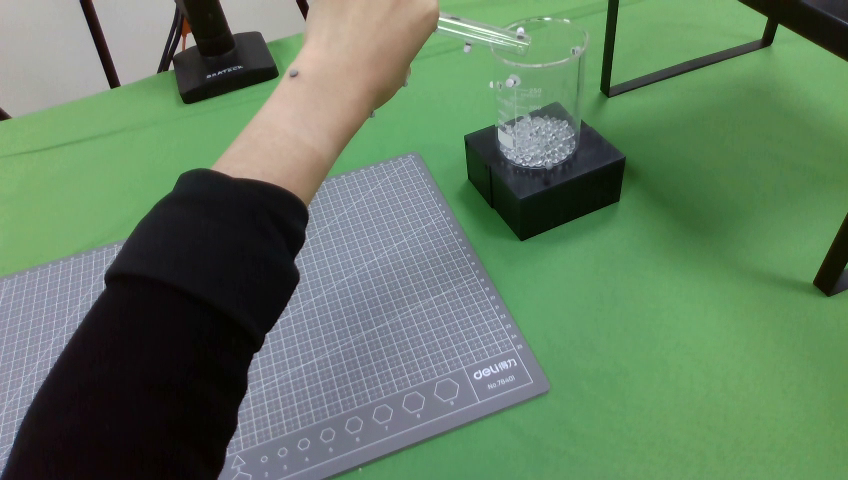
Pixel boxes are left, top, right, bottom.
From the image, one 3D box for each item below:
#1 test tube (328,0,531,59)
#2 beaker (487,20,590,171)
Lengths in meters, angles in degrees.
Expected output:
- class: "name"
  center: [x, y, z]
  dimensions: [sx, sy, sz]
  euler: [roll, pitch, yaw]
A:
- class: "test tube"
  center: [0.006, -0.155, 0.437]
  dimensions: [0.151, 0.017, 0.017]
  euler: [10, 44, -13]
- class: "beaker"
  center: [0.088, -0.114, 0.488]
  dimensions: [0.083, 0.101, 0.074]
  euler: [31, 58, 34]
